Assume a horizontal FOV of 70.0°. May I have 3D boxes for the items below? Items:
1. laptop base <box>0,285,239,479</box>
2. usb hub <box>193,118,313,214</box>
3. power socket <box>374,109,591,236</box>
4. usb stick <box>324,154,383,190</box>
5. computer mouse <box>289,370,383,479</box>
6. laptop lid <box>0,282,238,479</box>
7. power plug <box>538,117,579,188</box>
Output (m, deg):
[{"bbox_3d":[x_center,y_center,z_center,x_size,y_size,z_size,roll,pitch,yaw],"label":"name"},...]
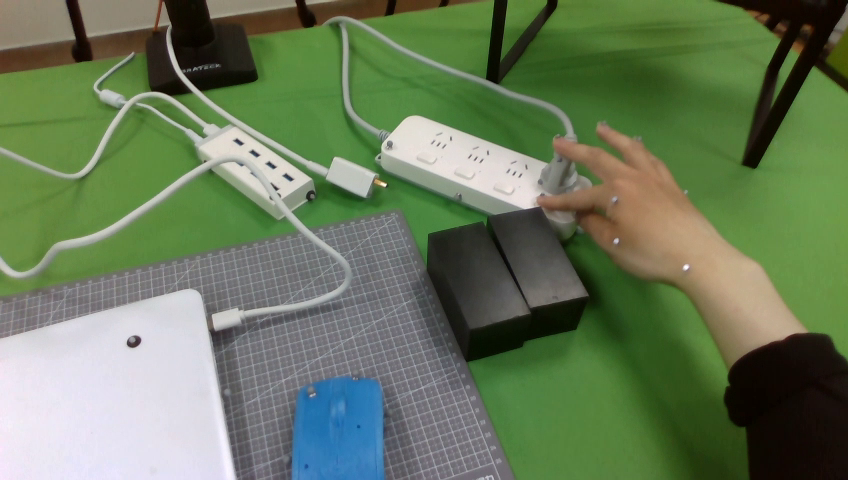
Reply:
[{"bbox_3d":[-0.308,0.170,0.399,0.355,0.023,0.233,-16,56,-14],"label":"laptop base"},{"bbox_3d":[-0.171,-0.076,0.602,0.124,0.025,0.049,34,57,24],"label":"usb hub"},{"bbox_3d":[0.058,-0.071,0.602,0.225,0.033,0.072,24,53,17],"label":"power socket"},{"bbox_3d":[-0.067,-0.065,0.595,0.059,0.027,0.021,15,7,-7],"label":"usb stick"},{"bbox_3d":[-0.060,0.140,0.417,0.063,0.041,0.116,-5,46,-3],"label":"computer mouse"},{"bbox_3d":[-0.307,0.164,0.389,0.357,0.013,0.239,-15,55,-13],"label":"laptop lid"},{"bbox_3d":[0.137,-0.076,0.581,0.035,0.053,0.072,33,58,23],"label":"power plug"}]
